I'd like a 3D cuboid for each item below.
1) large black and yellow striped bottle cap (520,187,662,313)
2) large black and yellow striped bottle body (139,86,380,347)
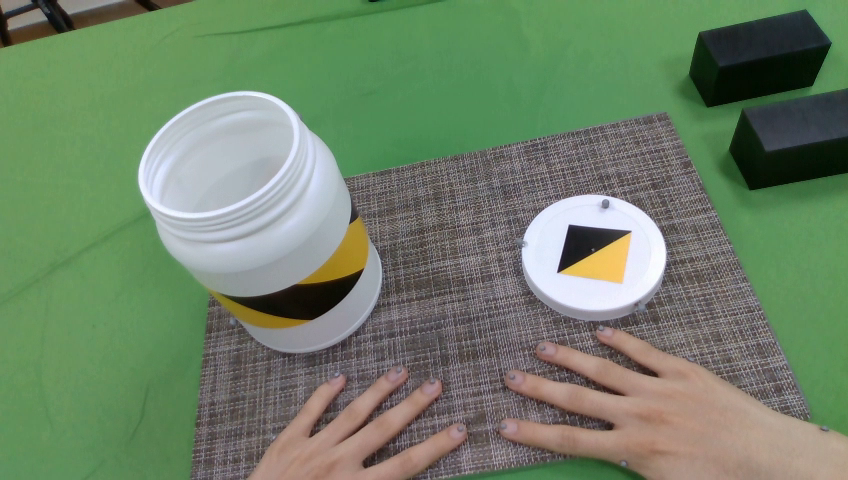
[{"bbox_3d":[0.137,0.006,0.502,0.115,0.019,0.114,-5,58,8],"label":"large black and yellow striped bottle cap"},{"bbox_3d":[-0.116,-0.012,0.461,0.130,0.186,0.129,-5,57,8],"label":"large black and yellow striped bottle body"}]
